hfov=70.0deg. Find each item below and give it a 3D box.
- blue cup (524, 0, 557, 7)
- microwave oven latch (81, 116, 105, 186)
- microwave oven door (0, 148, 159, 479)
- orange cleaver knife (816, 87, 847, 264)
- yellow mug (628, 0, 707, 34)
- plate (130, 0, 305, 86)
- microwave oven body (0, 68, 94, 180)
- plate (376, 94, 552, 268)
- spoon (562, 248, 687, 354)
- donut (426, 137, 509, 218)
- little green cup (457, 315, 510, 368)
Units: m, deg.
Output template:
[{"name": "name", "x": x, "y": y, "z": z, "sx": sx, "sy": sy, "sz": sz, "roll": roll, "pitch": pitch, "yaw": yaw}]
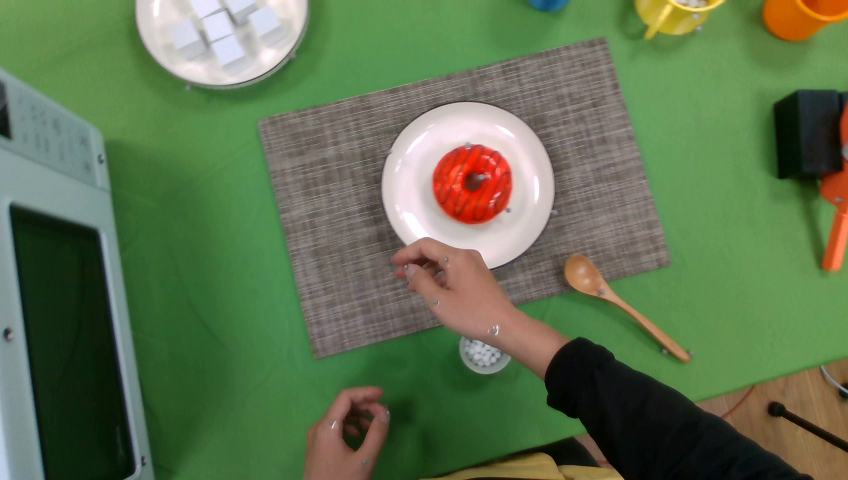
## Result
[{"name": "blue cup", "x": 0.150, "y": -0.332, "z": 0.730, "sx": 0.093, "sy": 0.100, "sz": 0.092, "roll": 0, "pitch": 85, "yaw": -2}, {"name": "microwave oven latch", "x": -0.394, "y": -0.101, "z": 0.702, "sx": 0.030, "sy": 0.029, "sz": 0.079, "roll": -11, "pitch": 85, "yaw": -3}, {"name": "microwave oven door", "x": -0.348, "y": 0.101, "z": 0.582, "sx": 0.039, "sy": 0.244, "sz": 0.355, "roll": -12, "pitch": 84, "yaw": -3}, {"name": "orange cleaver knife", "x": 0.496, "y": -0.076, "z": 0.725, "sx": 0.012, "sy": 0.076, "sz": 0.212, "roll": 0, "pitch": 114, "yaw": 1}, {"name": "yellow mug", "x": 0.303, "y": -0.311, "z": 0.750, "sx": 0.100, "sy": 0.064, "sz": 0.130, "roll": 33, "pitch": 85, "yaw": 2}, {"name": "plate", "x": -0.248, "y": -0.286, "z": 0.744, "sx": 0.208, "sy": 0.039, "sz": 0.207, "roll": 0, "pitch": 84, "yaw": -2}, {"name": "microwave oven body", "x": -0.500, "y": 0.090, "z": 0.583, "sx": 0.326, "sy": 0.260, "sz": 0.440, "roll": -12, "pitch": 85, "yaw": -3}, {"name": "plate", "x": 0.047, "y": -0.069, "z": 0.728, "sx": 0.209, "sy": 0.038, "sz": 0.208, "roll": 0, "pitch": 85, "yaw": -2}, {"name": "spoon", "x": 0.242, "y": 0.077, "z": 0.729, "sx": 0.193, "sy": 0.022, "sz": 0.041, "roll": 38, "pitch": 68, "yaw": 1}, {"name": "donut", "x": 0.051, "y": -0.074, "z": 0.717, "sx": 0.099, "sy": 0.048, "sz": 0.099, "roll": 0, "pitch": 86, "yaw": 0}, {"name": "little green cup", "x": 0.069, "y": 0.119, "z": 0.714, "sx": 0.061, "sy": 0.039, "sz": 0.061, "roll": 0, "pitch": 83, "yaw": -1}]
